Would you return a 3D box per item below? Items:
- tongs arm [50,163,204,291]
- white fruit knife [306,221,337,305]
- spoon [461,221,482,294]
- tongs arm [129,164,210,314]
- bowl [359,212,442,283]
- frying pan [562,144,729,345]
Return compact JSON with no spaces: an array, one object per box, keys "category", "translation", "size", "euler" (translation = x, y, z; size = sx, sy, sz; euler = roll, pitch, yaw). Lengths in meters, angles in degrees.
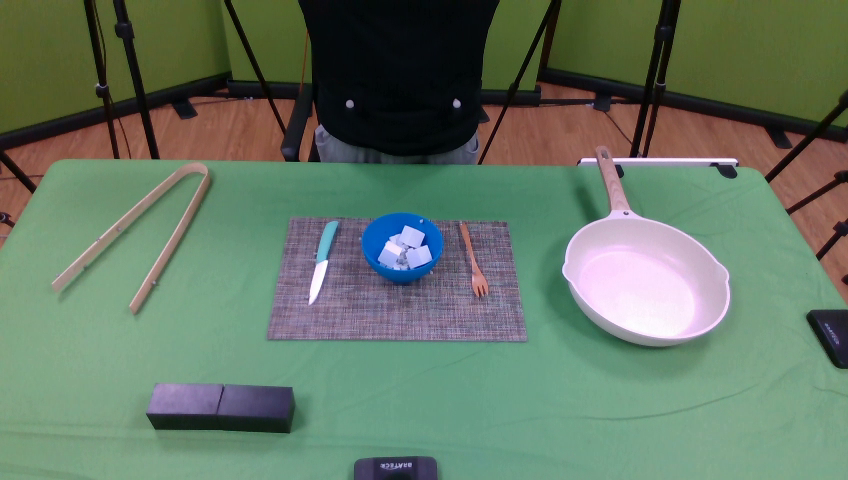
[{"category":"tongs arm","translation":[-0.561,-0.036,1.178],"size":[0.050,0.026,0.383],"euler":[17,46,10]},{"category":"white fruit knife","translation":[-0.196,0.040,1.143],"size":[0.027,0.016,0.206],"euler":[-1,46,8]},{"category":"spoon","translation":[0.087,0.031,1.169],"size":[0.042,0.022,0.192],"euler":[11,47,-14]},{"category":"tongs arm","translation":[-0.483,-0.016,1.171],"size":[0.028,0.028,0.385],"euler":[5,46,4]},{"category":"bowl","translation":[-0.044,0.026,1.125],"size":[0.151,0.077,0.150],"euler":[2,46,-2]},{"category":"frying pan","translation":[0.396,-0.008,1.179],"size":[0.307,0.103,0.484],"euler":[1,55,-4]}]
